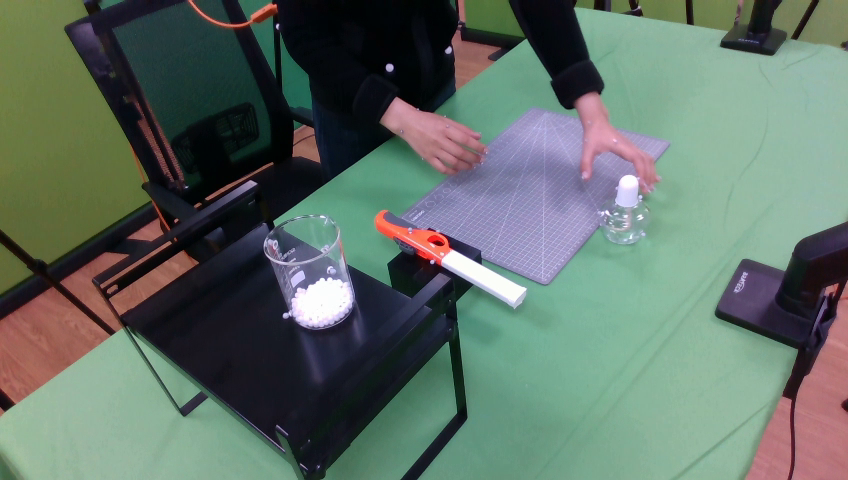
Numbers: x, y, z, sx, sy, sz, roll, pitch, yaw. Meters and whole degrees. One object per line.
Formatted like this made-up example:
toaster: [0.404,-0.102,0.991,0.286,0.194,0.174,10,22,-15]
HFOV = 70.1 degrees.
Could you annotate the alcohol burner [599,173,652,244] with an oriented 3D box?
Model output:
alcohol burner: [0.307,-0.052,0.920,0.078,0.119,0.077,-5,41,5]

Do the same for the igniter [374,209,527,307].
igniter: [0.027,0.019,0.873,0.274,0.025,0.057,29,52,31]

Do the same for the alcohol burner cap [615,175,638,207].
alcohol burner cap: [0.304,-0.076,0.901,0.034,0.048,0.033,-5,43,5]

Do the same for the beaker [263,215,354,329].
beaker: [-0.112,0.034,0.616,0.073,0.101,0.084,13,44,23]
